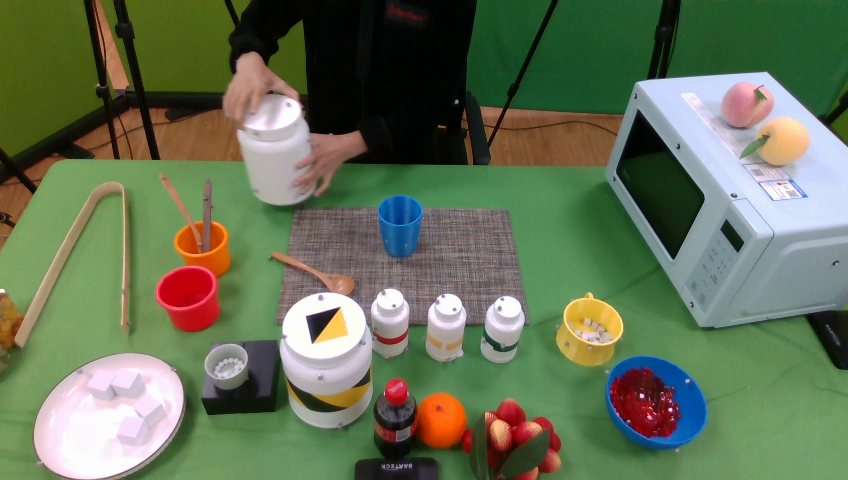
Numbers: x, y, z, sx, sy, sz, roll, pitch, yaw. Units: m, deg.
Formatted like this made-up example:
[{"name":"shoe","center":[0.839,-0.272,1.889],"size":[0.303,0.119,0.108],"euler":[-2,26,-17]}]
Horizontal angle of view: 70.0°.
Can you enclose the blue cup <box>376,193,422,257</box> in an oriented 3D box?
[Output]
[{"name":"blue cup","center":[-0.048,-0.022,1.155],"size":[0.093,0.101,0.092],"euler":[1,47,-1]}]

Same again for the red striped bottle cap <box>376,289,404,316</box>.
[{"name":"red striped bottle cap","center":[-0.055,0.098,0.958],"size":[0.044,0.018,0.044],"euler":[0,48,0]}]

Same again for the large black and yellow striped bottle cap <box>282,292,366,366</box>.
[{"name":"large black and yellow striped bottle cap","center":[-0.138,0.121,0.841],"size":[0.115,0.019,0.114],"euler":[3,47,-3]}]

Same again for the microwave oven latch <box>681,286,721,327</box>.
[{"name":"microwave oven latch","center":[0.494,0.119,1.086],"size":[0.030,0.029,0.078],"euler":[-5,46,-9]}]

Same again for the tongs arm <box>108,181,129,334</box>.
[{"name":"tongs arm","center":[-0.571,0.019,1.123],"size":[0.051,0.026,0.382],"euler":[-10,47,-12]}]

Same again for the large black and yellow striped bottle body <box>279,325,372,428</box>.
[{"name":"large black and yellow striped bottle body","center":[-0.143,0.181,0.900],"size":[0.131,0.185,0.130],"euler":[2,46,-2]}]

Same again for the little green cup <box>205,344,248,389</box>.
[{"name":"little green cup","center":[-0.294,0.191,0.909],"size":[0.061,0.039,0.061],"euler":[1,47,-1]}]

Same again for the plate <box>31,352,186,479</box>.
[{"name":"plate","center":[-0.459,0.262,0.898],"size":[0.209,0.038,0.208],"euler":[2,46,-2]}]

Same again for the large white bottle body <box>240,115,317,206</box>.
[{"name":"large white bottle body","center":[-0.284,-0.173,1.182],"size":[0.130,0.185,0.130],"euler":[1,48,-1]}]

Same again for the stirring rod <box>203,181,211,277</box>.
[{"name":"stirring rod","center":[-0.396,-0.021,1.107],"size":[0.014,0.006,0.176],"euler":[-1,89,-1]}]

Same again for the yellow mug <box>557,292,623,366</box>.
[{"name":"yellow mug","center":[0.285,0.145,1.051],"size":[0.100,0.064,0.130],"euler":[7,45,4]}]

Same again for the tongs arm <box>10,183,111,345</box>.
[{"name":"tongs arm","center":[-0.658,0.027,1.109],"size":[0.028,0.028,0.385],"euler":[-2,45,2]}]

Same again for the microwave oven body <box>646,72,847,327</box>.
[{"name":"microwave oven body","center":[0.607,-0.089,1.164],"size":[0.326,0.261,0.438],"euler":[-7,46,-10]}]

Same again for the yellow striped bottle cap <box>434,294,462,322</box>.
[{"name":"yellow striped bottle cap","center":[0.038,0.107,0.958],"size":[0.044,0.019,0.044],"euler":[2,44,-2]}]

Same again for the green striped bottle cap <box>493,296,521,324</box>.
[{"name":"green striped bottle cap","center":[0.133,0.111,0.962],"size":[0.044,0.020,0.044],"euler":[2,47,-2]}]

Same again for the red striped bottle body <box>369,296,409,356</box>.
[{"name":"red striped bottle body","center":[-0.059,0.134,0.997],"size":[0.063,0.120,0.062],"euler":[5,48,-5]}]

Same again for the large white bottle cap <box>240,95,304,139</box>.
[{"name":"large white bottle cap","center":[-0.281,-0.229,1.119],"size":[0.115,0.018,0.114],"euler":[1,48,-1]}]

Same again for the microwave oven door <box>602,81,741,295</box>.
[{"name":"microwave oven door","center":[0.456,-0.107,1.162],"size":[0.039,0.245,0.353],"euler":[-7,47,-11]}]

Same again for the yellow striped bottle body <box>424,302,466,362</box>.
[{"name":"yellow striped bottle body","center":[0.035,0.143,0.995],"size":[0.063,0.121,0.062],"euler":[3,46,-3]}]

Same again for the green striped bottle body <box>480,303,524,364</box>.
[{"name":"green striped bottle body","center":[0.129,0.147,1.000],"size":[0.063,0.120,0.063],"euler":[2,46,-2]}]

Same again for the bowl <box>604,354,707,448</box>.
[{"name":"bowl","center":[0.346,0.261,0.937],"size":[0.151,0.077,0.150],"euler":[2,46,-2]}]

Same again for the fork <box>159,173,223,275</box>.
[{"name":"fork","center":[-0.426,-0.029,1.103],"size":[0.028,0.018,0.207],"euler":[-31,99,-29]}]

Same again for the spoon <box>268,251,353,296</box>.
[{"name":"spoon","center":[-0.212,0.057,1.121],"size":[0.193,0.022,0.041],"euler":[24,74,18]}]
